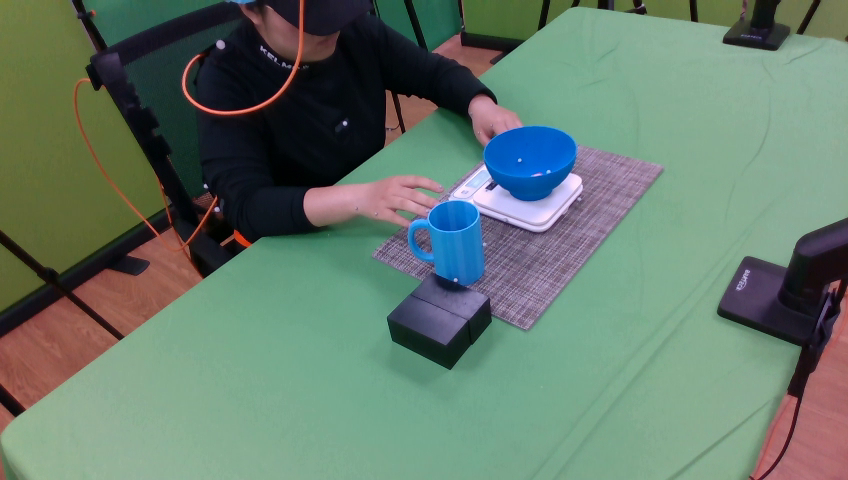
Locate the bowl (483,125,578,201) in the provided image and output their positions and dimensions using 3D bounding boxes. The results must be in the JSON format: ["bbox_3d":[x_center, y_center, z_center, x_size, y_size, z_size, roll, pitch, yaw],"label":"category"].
[{"bbox_3d":[0.175,-0.117,0.991,0.151,0.077,0.150,-6,41,5],"label":"bowl"}]

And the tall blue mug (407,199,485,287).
[{"bbox_3d":[0.034,0.008,0.892,0.107,0.108,0.077,-13,41,-5],"label":"tall blue mug"}]

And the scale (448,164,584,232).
[{"bbox_3d":[0.156,-0.085,1.040,0.199,0.032,0.149,22,49,33],"label":"scale"}]
